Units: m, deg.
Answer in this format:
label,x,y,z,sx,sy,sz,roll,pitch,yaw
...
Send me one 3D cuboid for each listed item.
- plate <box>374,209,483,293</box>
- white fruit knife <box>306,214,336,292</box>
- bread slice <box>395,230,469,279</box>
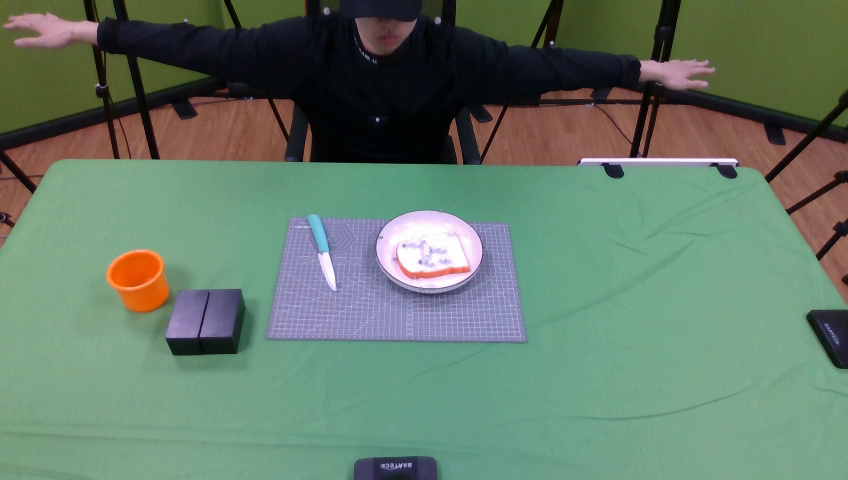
label,x,y,z,sx,sy,sz,roll,pitch,yaw
plate,0.009,0.024,1.160,0.209,0.038,0.208,2,46,-2
white fruit knife,-0.195,0.021,1.164,0.027,0.016,0.206,-30,51,8
bread slice,0.011,0.029,1.158,0.132,0.019,0.104,-9,48,-14
